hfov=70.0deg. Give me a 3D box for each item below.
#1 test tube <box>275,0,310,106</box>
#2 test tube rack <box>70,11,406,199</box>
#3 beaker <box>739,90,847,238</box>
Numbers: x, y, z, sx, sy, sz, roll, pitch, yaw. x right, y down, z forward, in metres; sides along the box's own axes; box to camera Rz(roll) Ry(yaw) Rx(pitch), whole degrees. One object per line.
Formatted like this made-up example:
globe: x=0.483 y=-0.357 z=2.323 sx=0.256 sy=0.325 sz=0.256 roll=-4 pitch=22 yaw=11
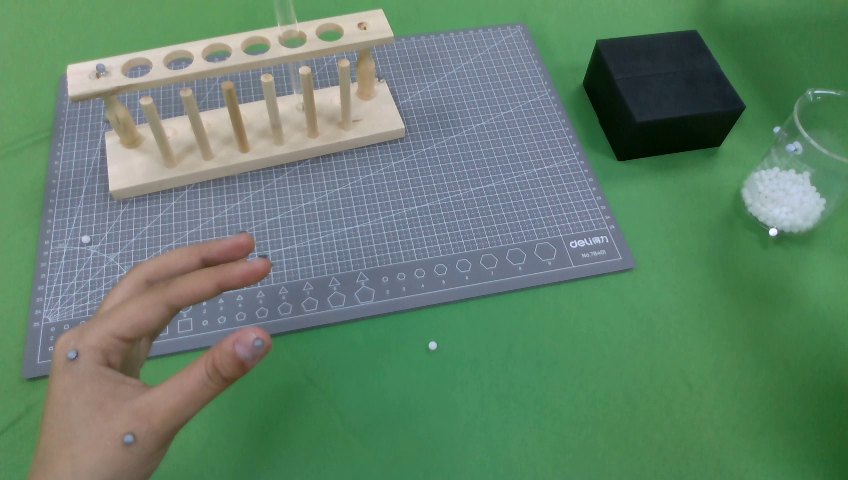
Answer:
test tube: x=-0.102 y=-0.164 z=0.469 sx=0.017 sy=0.151 sz=0.017 roll=0 pitch=53 yaw=1
test tube rack: x=-0.139 y=-0.110 z=0.492 sx=0.243 sy=0.086 sz=0.066 roll=-14 pitch=59 yaw=-12
beaker: x=0.304 y=-0.057 z=0.479 sx=0.074 sy=0.101 sz=0.083 roll=-7 pitch=57 yaw=-8
